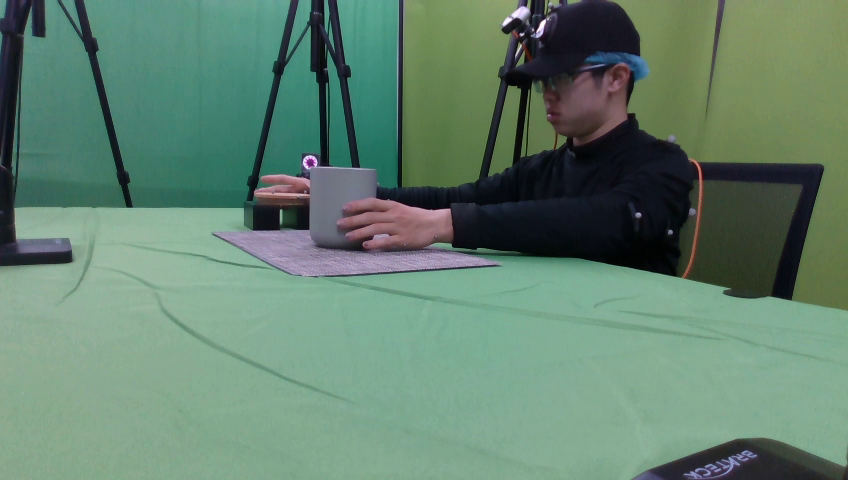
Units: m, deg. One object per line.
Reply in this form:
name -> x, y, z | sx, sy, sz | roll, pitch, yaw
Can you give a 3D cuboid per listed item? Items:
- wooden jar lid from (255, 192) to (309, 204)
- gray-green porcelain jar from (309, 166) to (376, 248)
wooden jar lid -> -0.287, -0.085, 1.222 | 0.108, 0.020, 0.108 | 3, 7, 0
gray-green porcelain jar -> -0.131, -0.054, 0.966 | 0.106, 0.126, 0.106 | 2, 8, 0
